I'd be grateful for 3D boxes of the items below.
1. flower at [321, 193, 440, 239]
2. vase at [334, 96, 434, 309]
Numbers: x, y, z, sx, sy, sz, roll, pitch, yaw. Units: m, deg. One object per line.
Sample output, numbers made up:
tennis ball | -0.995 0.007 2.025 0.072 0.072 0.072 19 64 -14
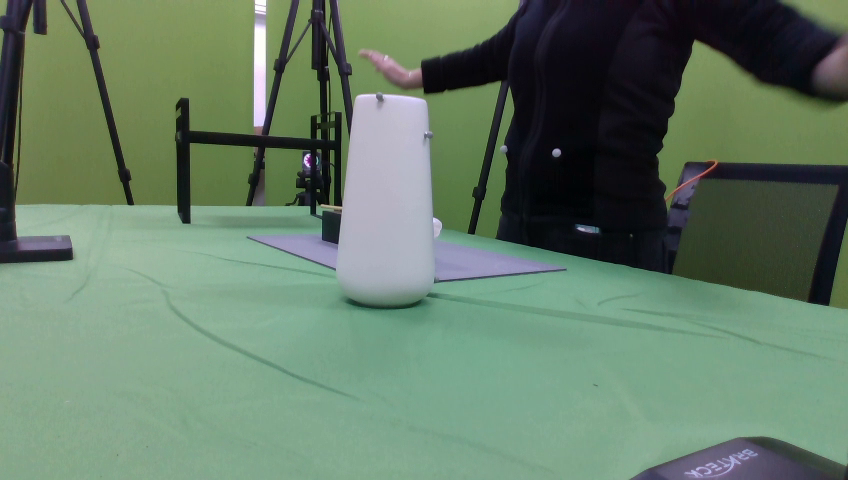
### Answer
flower | -0.088 -0.046 0.944 0.044 0.038 0.360 -38 29 -20
vase | -0.038 -0.036 0.590 0.098 0.200 0.098 1 8 0
